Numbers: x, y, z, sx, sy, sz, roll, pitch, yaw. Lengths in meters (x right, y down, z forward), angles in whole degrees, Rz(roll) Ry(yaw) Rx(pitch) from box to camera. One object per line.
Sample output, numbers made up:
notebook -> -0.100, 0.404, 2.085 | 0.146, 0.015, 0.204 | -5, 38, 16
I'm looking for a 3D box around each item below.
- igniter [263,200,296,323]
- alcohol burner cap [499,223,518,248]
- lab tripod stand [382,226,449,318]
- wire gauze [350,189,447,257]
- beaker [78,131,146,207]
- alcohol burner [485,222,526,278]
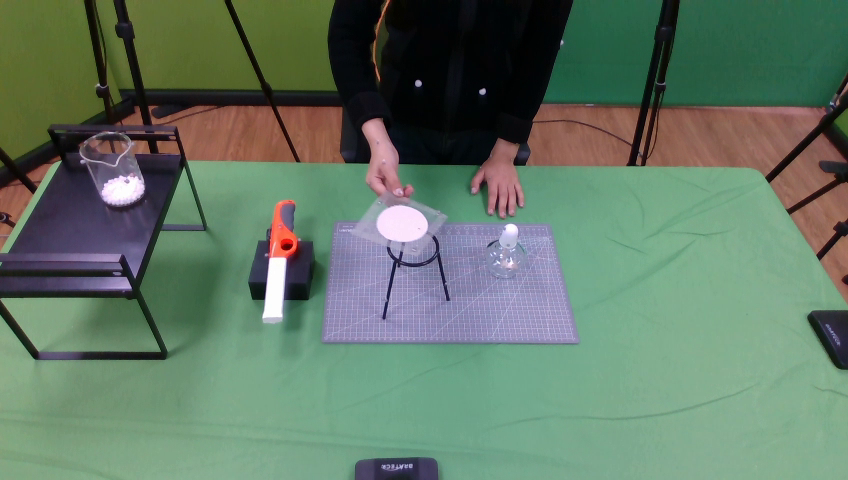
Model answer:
igniter -> -0.260, 0.027, 1.083 | 0.057, 0.025, 0.274 | 0, 49, -8
alcohol burner cap -> 0.156, -0.010, 1.102 | 0.034, 0.048, 0.033 | 1, 53, -2
lab tripod stand -> -0.023, 0.055, 1.062 | 0.148, 0.132, 0.147 | 3, 48, -3
wire gauze -> -0.040, -0.028, 1.004 | 0.121, 0.011, 0.124 | 22, 48, 14
beaker -> -0.488, -0.108, 0.961 | 0.074, 0.101, 0.083 | -25, 54, -25
alcohol burner -> 0.154, 0.014, 1.129 | 0.078, 0.119, 0.077 | 2, 44, -2
